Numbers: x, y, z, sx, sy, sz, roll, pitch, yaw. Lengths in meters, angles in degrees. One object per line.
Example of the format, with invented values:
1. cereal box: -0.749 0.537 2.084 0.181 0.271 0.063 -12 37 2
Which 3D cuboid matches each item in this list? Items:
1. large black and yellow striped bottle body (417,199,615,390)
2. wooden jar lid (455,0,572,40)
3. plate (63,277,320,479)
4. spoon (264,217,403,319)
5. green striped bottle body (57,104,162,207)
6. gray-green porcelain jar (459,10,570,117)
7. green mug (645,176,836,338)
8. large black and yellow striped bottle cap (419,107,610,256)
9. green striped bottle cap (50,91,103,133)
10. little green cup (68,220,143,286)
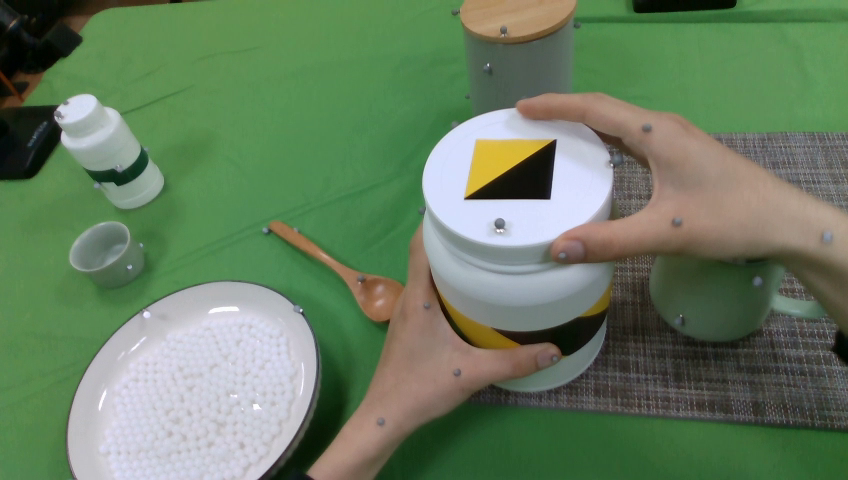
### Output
1. large black and yellow striped bottle body: 0.065 0.017 0.439 0.130 0.186 0.129 -4 55 6
2. wooden jar lid: 0.084 -0.216 0.568 0.108 0.021 0.107 -7 50 9
3. plate: -0.184 0.126 0.499 0.209 0.038 0.207 -5 53 7
4. spoon: -0.092 0.018 0.572 0.192 0.022 0.041 32 80 29
5. green striped bottle body: -0.335 -0.095 0.640 0.063 0.120 0.062 -5 52 7
6. gray-green porcelain jar: 0.093 -0.174 0.615 0.106 0.128 0.105 -5 49 6
7. green mug: 0.235 0.020 0.455 0.124 0.106 0.092 20 59 24
8. large black and yellow striped bottle cap: 0.053 -0.037 0.368 0.115 0.019 0.114 -6 52 8
9. green striped bottle cap: -0.343 -0.127 0.599 0.044 0.020 0.044 -3 55 5
10. little green cup: -0.316 0.015 0.606 0.061 0.039 0.061 -5 52 7
